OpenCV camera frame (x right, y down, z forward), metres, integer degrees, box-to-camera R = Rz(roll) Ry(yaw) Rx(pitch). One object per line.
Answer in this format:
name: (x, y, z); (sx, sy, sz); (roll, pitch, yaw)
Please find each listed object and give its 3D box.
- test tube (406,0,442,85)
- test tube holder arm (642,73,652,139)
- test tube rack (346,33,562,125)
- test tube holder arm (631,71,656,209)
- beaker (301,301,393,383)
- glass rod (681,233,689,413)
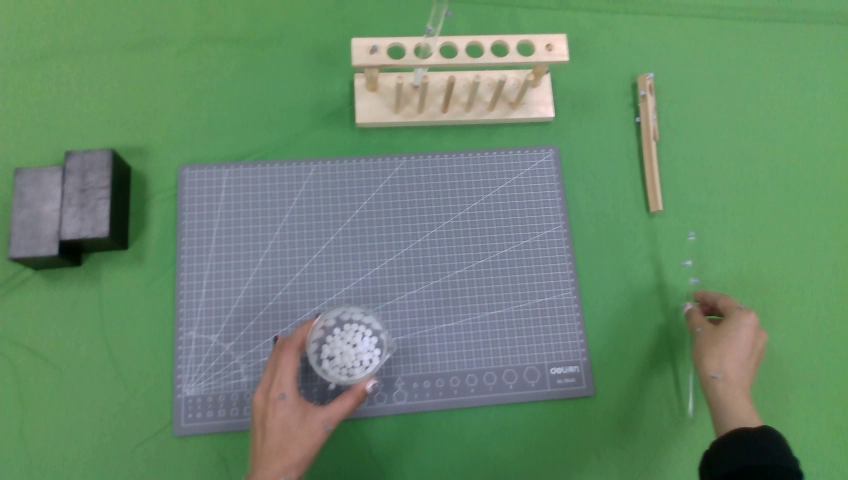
test tube: (-0.003, -0.215, 0.666); (0.017, 0.150, 0.017); (3, 72, -10)
test tube holder arm: (0.276, -0.167, 0.760); (0.010, 0.015, 0.087); (11, 73, -32)
test tube rack: (0.033, -0.188, 0.712); (0.243, 0.085, 0.066); (-3, 75, -5)
test tube holder arm: (0.270, -0.125, 0.745); (0.013, 0.015, 0.177); (10, 73, -32)
beaker: (-0.074, 0.105, 0.601); (0.084, 0.100, 0.073); (4, 75, -5)
glass rod: (0.290, 0.091, 0.672); (0.008, 0.008, 0.199); (2, 85, -4)
